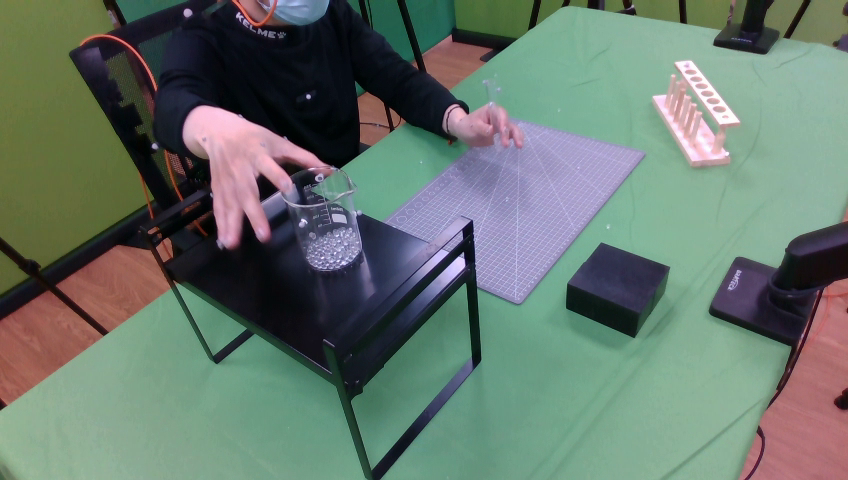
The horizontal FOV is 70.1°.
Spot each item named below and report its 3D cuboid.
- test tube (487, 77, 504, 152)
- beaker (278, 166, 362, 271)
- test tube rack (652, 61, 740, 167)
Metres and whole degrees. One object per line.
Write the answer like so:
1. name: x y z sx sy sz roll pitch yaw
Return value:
1. test tube: 0.119 -0.204 1.002 0.017 0.151 0.017 -7 50 8
2. beaker: -0.109 -0.022 0.675 0.084 0.101 0.073 -2 41 5
3. test tube rack: 0.499 -0.242 1.130 0.067 0.085 0.241 -5 41 4
